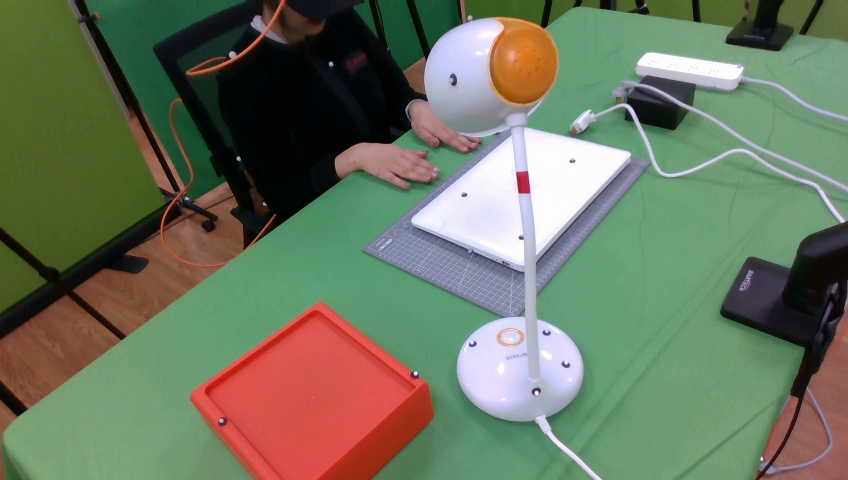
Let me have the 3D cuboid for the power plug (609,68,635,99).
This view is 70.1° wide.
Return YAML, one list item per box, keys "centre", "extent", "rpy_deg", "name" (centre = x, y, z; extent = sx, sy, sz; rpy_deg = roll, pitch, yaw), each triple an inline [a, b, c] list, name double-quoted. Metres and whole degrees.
- centre: [0.406, -0.322, 1.233]
  extent: [0.035, 0.072, 0.052]
  rpy_deg: [5, 35, -34]
  name: "power plug"

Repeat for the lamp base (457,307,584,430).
- centre: [0.115, 0.108, 0.713]
  extent: [0.161, 0.181, 0.178]
  rpy_deg: [-16, 43, -8]
  name: "lamp base"

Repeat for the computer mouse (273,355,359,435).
- centre: [-0.138, 0.191, 0.762]
  extent: [0.063, 0.041, 0.116]
  rpy_deg: [-38, 49, -27]
  name: "computer mouse"

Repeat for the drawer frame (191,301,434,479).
- centre: [-0.133, 0.197, 0.731]
  extent: [0.211, 0.083, 0.202]
  rpy_deg: [29, 52, 36]
  name: "drawer frame"

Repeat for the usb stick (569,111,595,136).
- centre: [0.309, -0.227, 1.189]
  extent: [0.059, 0.021, 0.027]
  rpy_deg: [-44, 13, -20]
  name: "usb stick"

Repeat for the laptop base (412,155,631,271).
- centre: [0.176, -0.084, 1.055]
  extent: [0.233, 0.023, 0.355]
  rpy_deg: [21, 48, 36]
  name: "laptop base"

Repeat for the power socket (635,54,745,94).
- centre: [0.563, -0.358, 1.295]
  extent: [0.225, 0.033, 0.072]
  rpy_deg: [21, 49, 31]
  name: "power socket"

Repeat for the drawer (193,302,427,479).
- centre: [-0.136, 0.197, 0.733]
  extent: [0.195, 0.073, 0.210]
  rpy_deg: [-36, 47, -29]
  name: "drawer"

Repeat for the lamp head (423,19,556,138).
- centre: [0.068, -0.151, 0.563]
  extent: [0.113, 0.113, 0.122]
  rpy_deg: [-21, 18, -13]
  name: "lamp head"

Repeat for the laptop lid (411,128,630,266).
- centre: [0.172, -0.093, 1.049]
  extent: [0.239, 0.013, 0.358]
  rpy_deg: [23, 49, 36]
  name: "laptop lid"
